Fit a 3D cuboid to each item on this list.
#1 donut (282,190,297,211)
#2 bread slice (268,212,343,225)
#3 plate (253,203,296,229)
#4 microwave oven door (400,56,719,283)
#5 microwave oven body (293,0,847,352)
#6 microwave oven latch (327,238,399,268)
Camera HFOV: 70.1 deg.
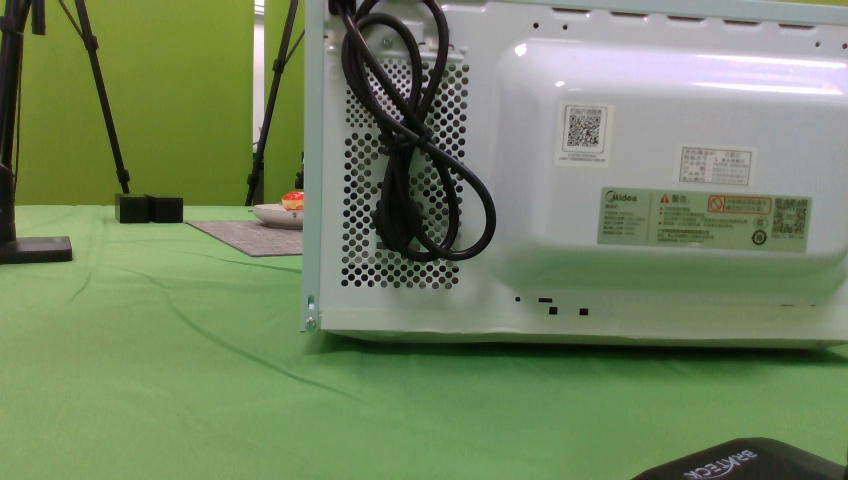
[{"bbox_3d":[-0.239,-0.077,1.232,0.099,0.048,0.099,2,4,0],"label":"donut"},{"bbox_3d":[-0.244,-0.045,1.220,0.104,0.019,0.132,6,7,36],"label":"bread slice"},{"bbox_3d":[-0.238,-0.048,1.226,0.208,0.039,0.207,3,7,0],"label":"plate"},{"bbox_3d":[0.155,-0.077,0.697,0.356,0.243,0.039,2,8,-5],"label":"microwave oven door"},{"bbox_3d":[0.122,-0.055,0.550,0.442,0.260,0.325,3,7,-5],"label":"microwave oven body"},{"bbox_3d":[-0.069,0.015,0.694,0.079,0.029,0.030,3,7,-3],"label":"microwave oven latch"}]
